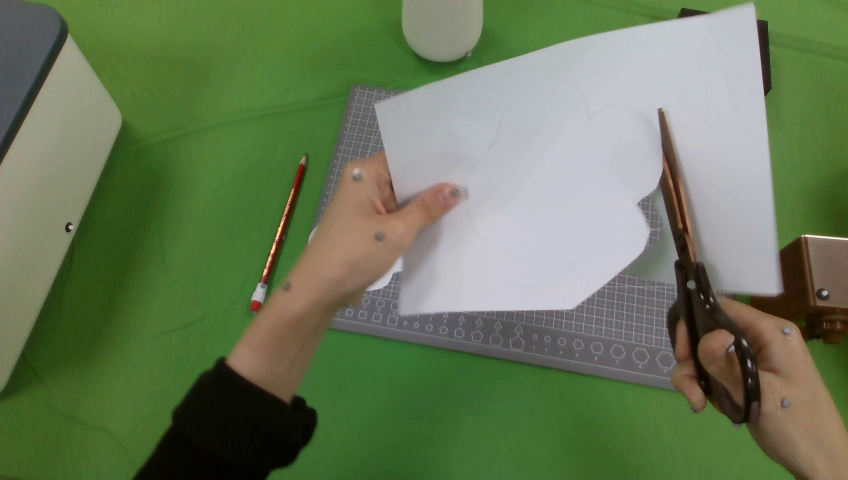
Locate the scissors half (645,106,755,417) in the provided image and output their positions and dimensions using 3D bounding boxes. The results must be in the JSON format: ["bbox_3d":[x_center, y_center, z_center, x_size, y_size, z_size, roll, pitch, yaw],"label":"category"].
[{"bbox_3d":[0.147,0.009,0.329,0.013,0.040,0.174,-14,82,-5],"label":"scissors half"}]

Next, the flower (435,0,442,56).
[{"bbox_3d":[0.012,-0.343,0.595,0.044,0.365,0.038,3,50,5],"label":"flower"}]

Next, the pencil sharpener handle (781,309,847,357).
[{"bbox_3d":[0.353,0.086,0.548,0.036,0.068,0.030,10,67,-11],"label":"pencil sharpener handle"}]

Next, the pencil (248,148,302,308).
[{"bbox_3d":[-0.157,-0.019,0.654,0.012,0.012,0.193,10,67,4],"label":"pencil"}]

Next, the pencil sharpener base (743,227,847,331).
[{"bbox_3d":[0.361,0.044,0.579,0.061,0.108,0.076,5,68,2],"label":"pencil sharpener base"}]

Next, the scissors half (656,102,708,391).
[{"bbox_3d":[0.146,0.008,0.351,0.013,0.040,0.176,-14,108,0],"label":"scissors half"}]

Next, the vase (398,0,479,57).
[{"bbox_3d":[0.016,-0.298,0.667,0.098,0.201,0.097,0,66,1],"label":"vase"}]

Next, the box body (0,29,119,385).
[{"bbox_3d":[-0.492,-0.047,0.580,0.254,0.161,0.361,9,68,4],"label":"box body"}]

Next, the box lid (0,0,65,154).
[{"bbox_3d":[-0.492,-0.078,0.511,0.263,0.015,0.369,10,68,3],"label":"box lid"}]
